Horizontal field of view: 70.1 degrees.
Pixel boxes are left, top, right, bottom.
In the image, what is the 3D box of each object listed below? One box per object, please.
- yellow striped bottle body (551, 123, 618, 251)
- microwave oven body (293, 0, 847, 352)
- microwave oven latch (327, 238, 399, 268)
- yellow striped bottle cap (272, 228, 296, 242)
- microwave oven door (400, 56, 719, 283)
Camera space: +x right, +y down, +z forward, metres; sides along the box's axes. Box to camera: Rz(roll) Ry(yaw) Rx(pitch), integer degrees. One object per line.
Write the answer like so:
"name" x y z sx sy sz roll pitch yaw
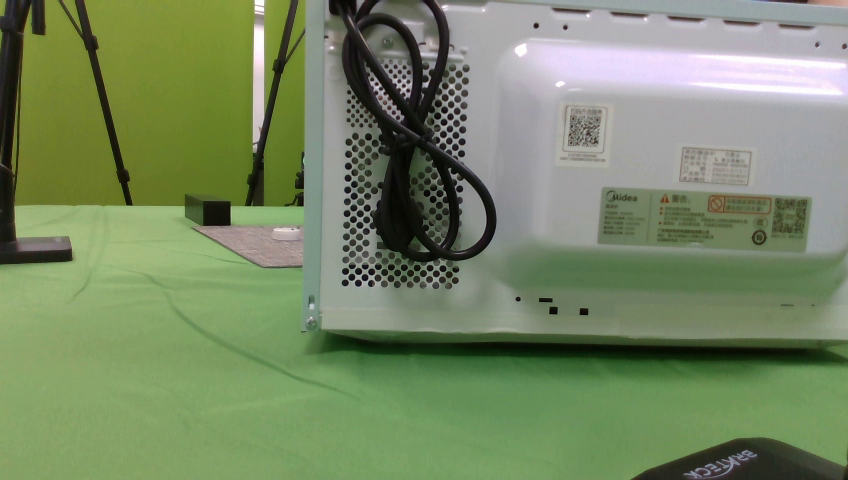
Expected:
"yellow striped bottle body" 0.155 -0.051 0.585 0.063 0.120 0.063 -1 4 0
"microwave oven body" 0.122 -0.055 0.550 0.442 0.260 0.325 3 7 -5
"microwave oven latch" -0.069 0.015 0.694 0.079 0.029 0.030 3 7 -3
"yellow striped bottle cap" -0.232 -0.008 1.012 0.044 0.018 0.044 4 8 0
"microwave oven door" 0.155 -0.077 0.698 0.356 0.243 0.039 2 8 -5
